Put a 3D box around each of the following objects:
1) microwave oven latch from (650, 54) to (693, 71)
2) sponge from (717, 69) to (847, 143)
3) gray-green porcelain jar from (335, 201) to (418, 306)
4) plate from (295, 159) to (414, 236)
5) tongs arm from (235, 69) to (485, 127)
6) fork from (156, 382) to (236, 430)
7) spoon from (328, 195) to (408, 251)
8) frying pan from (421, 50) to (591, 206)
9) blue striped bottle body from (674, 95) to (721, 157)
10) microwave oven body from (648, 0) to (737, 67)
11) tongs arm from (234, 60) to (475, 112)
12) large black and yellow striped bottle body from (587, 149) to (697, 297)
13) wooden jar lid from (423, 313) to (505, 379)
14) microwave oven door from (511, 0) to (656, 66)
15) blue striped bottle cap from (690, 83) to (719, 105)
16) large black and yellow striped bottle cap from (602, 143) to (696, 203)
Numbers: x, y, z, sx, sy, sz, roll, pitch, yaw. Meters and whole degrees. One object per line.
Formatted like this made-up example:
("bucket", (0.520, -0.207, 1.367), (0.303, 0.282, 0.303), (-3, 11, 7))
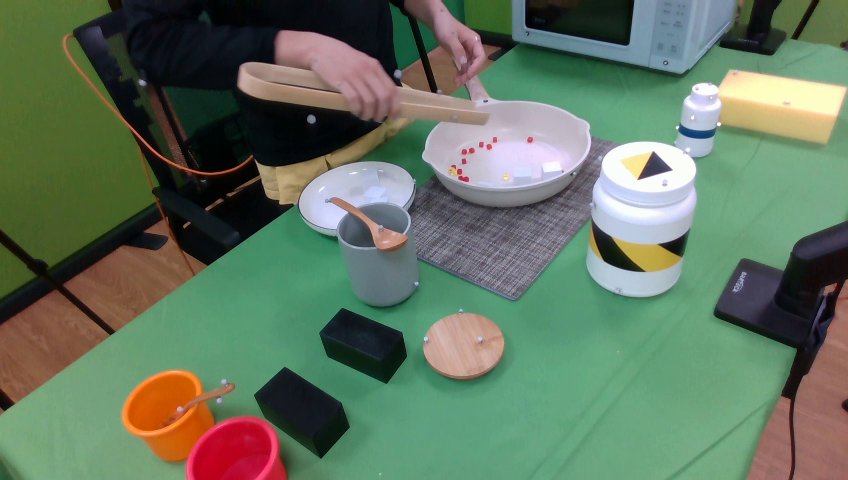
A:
("microwave oven latch", (0.531, -0.386, 1.301), (0.078, 0.029, 0.030), (26, 51, 33))
("sponge", (0.663, -0.256, 1.142), (0.205, 0.061, 0.118), (19, 47, 28))
("gray-green porcelain jar", (-0.064, 0.024, 0.872), (0.106, 0.127, 0.105), (-4, 41, 4))
("plate", (-0.118, -0.070, 1.055), (0.207, 0.039, 0.206), (-5, 39, 5))
("tongs arm", (-0.074, -0.200, 0.885), (0.391, 0.028, 0.028), (2, 46, -29))
("fork", (-0.262, 0.189, 0.690), (0.018, 0.206, 0.028), (49, 43, -6))
("spoon", (-0.083, -0.029, 0.829), (0.042, 0.022, 0.192), (-32, 43, -21))
("frying pan", (0.127, -0.233, 1.155), (0.307, 0.103, 0.484), (-11, 49, -5))
("blue striped bottle body", (0.486, -0.213, 1.072), (0.063, 0.121, 0.063), (-4, 41, 4))
("microwave oven body", (0.475, -0.602, 1.411), (0.438, 0.261, 0.327), (23, 50, 32))
("tongs arm", (-0.084, -0.219, 0.904), (0.388, 0.026, 0.050), (4, 41, -27))
("large black and yellow striped bottle body", (0.298, -0.026, 0.835), (0.131, 0.185, 0.130), (-4, 41, 4))
("wooden jar lid", (0.053, 0.142, 0.800), (0.108, 0.021, 0.108), (-5, 39, 4))
("microwave oven door", (0.350, -0.539, 1.349), (0.353, 0.245, 0.039), (24, 50, 31))
("blue striped bottle cap", (0.481, -0.251, 1.038), (0.044, 0.021, 0.044), (-5, 40, 5))
("large black and yellow striped bottle cap", (0.289, -0.088, 0.779), (0.115, 0.019, 0.114), (-5, 39, 4))
